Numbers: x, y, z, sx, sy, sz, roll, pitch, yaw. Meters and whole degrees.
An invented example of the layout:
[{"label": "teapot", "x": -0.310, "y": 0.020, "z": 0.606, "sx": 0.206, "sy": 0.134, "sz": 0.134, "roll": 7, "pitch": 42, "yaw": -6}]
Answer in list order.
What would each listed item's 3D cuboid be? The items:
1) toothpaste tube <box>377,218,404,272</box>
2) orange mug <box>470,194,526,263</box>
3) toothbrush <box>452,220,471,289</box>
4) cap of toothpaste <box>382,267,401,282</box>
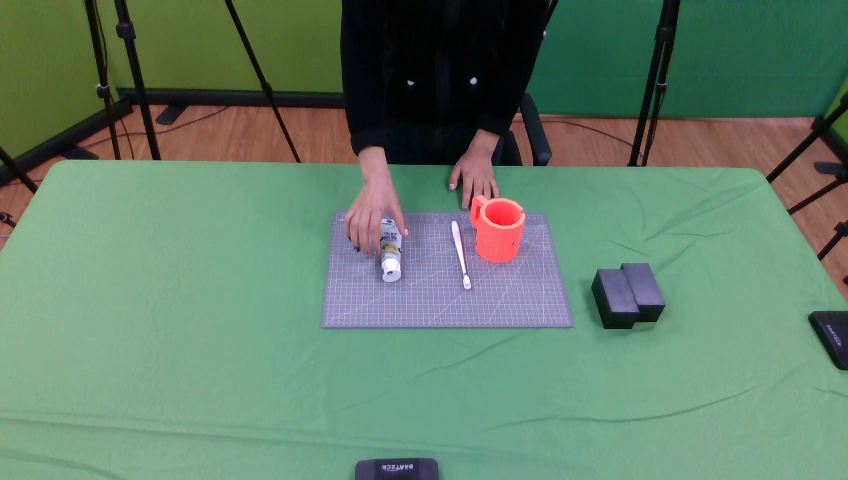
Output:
[{"label": "toothpaste tube", "x": -0.063, "y": 0.008, "z": 1.179, "sx": 0.055, "sy": 0.034, "sz": 0.164, "roll": 5, "pitch": 42, "yaw": -9}, {"label": "orange mug", "x": 0.136, "y": -0.030, "z": 1.180, "sx": 0.083, "sy": 0.101, "sz": 0.125, "roll": -26, "pitch": 57, "yaw": -26}, {"label": "toothbrush", "x": 0.071, "y": 0.024, "z": 1.180, "sx": 0.014, "sy": 0.017, "sz": 0.180, "roll": -13, "pitch": 45, "yaw": 4}, {"label": "cap of toothpaste", "x": -0.060, "y": 0.063, "z": 1.118, "sx": 0.037, "sy": 0.037, "sz": 0.011, "roll": -9, "pitch": 49, "yaw": -12}]
